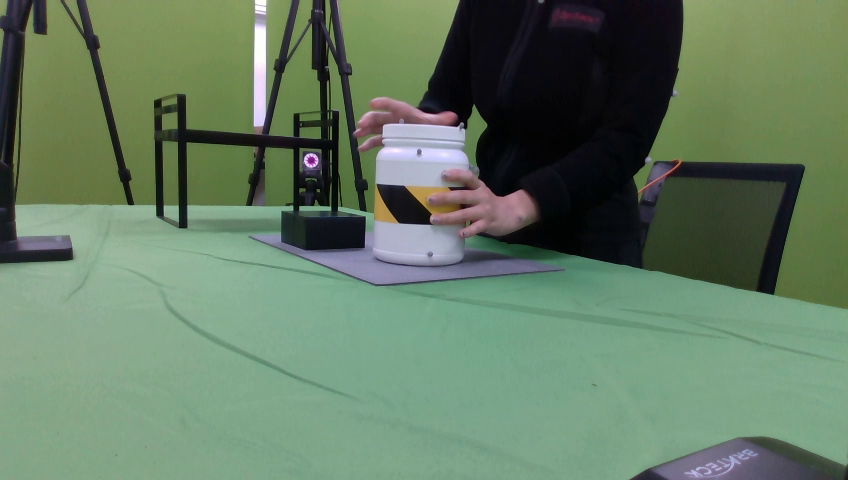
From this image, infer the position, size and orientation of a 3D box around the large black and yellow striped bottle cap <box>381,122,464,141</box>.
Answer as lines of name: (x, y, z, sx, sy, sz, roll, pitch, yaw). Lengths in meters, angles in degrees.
large black and yellow striped bottle cap: (-0.002, -0.148, 0.830, 0.115, 0.019, 0.115, 3, 6, 0)

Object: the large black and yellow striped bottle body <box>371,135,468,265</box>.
large black and yellow striped bottle body: (-0.005, -0.065, 0.841, 0.131, 0.184, 0.130, 3, 7, 0)
